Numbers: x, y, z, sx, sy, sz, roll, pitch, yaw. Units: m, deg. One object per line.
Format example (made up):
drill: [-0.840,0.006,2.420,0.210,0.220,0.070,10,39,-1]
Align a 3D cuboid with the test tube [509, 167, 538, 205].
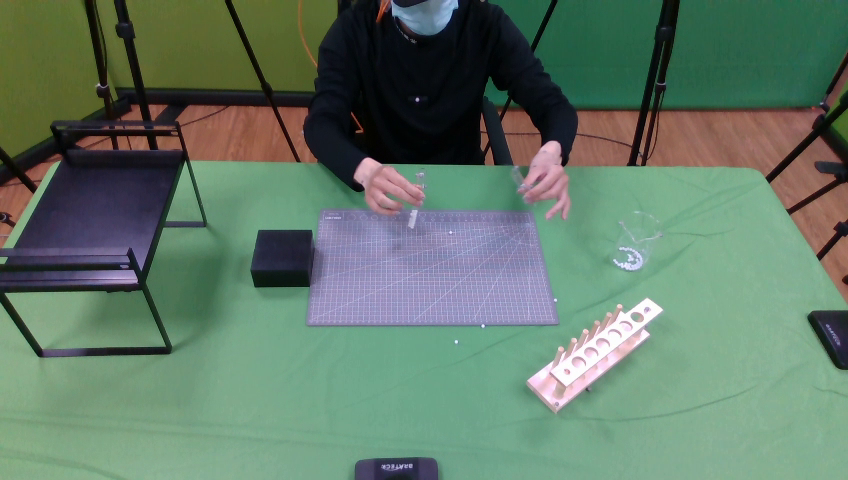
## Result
test tube: [0.186,-0.097,1.118,0.017,0.151,0.017,-9,67,22]

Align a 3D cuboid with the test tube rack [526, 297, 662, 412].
test tube rack: [0.284,0.176,1.007,0.242,0.085,0.066,-29,54,-27]

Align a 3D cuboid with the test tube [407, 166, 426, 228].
test tube: [-0.015,-0.076,1.131,0.017,0.151,0.017,6,46,-6]

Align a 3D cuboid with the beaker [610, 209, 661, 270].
beaker: [0.404,0.005,1.170,0.074,0.101,0.083,19,49,15]
